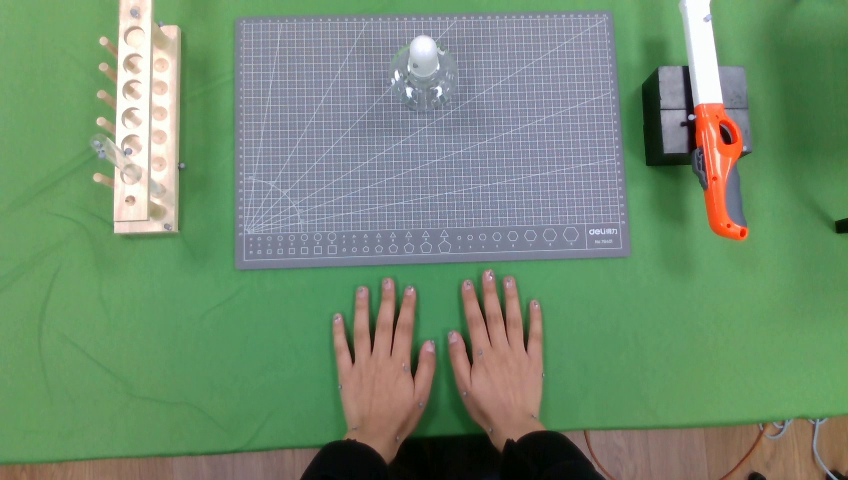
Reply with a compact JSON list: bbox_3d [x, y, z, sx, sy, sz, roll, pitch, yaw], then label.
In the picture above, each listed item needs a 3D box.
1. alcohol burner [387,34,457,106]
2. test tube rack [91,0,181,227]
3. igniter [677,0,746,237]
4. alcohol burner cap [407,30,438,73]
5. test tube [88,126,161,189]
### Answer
[{"bbox_3d":[-0.002,-0.192,0.657,0.078,0.119,0.077,0,83,0],"label":"alcohol burner"},{"bbox_3d":[-0.315,-0.140,0.656,0.067,0.085,0.241,-1,83,-2],"label":"test tube rack"},{"bbox_3d":[0.312,-0.138,0.661,0.057,0.025,0.275,-3,80,-5],"label":"igniter"},{"bbox_3d":[-0.003,-0.196,0.621,0.034,0.048,0.034,0,83,1],"label":"alcohol burner cap"},{"bbox_3d":[-0.291,-0.078,0.599,0.017,0.150,0.017,1,78,-5],"label":"test tube"}]
